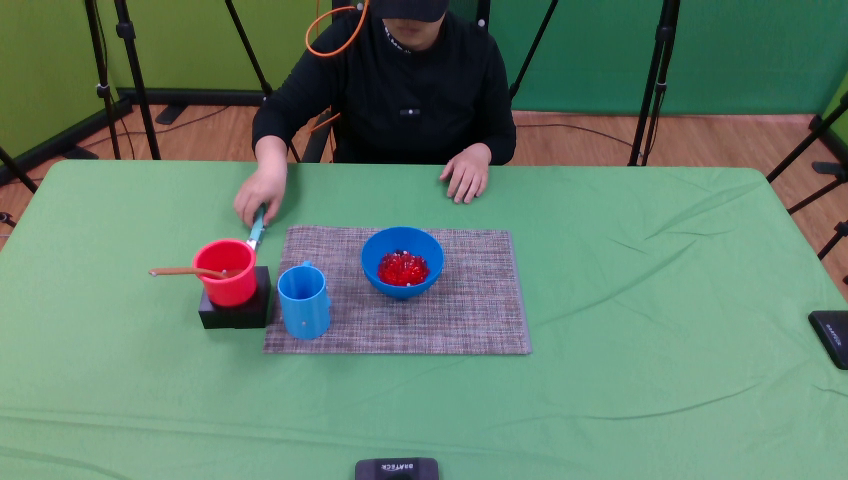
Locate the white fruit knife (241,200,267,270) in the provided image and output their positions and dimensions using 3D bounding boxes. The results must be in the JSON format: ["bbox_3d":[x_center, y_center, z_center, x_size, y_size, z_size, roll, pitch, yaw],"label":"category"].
[{"bbox_3d":[-0.332,-0.003,1.180,0.027,0.016,0.206,-11,48,13],"label":"white fruit knife"}]

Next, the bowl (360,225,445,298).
[{"bbox_3d":[-0.040,0.053,1.099,0.151,0.077,0.150,2,46,-2],"label":"bowl"}]

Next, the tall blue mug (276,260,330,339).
[{"bbox_3d":[-0.208,0.094,1.025,0.078,0.108,0.106,-21,51,-21],"label":"tall blue mug"}]

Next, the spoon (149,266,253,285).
[{"bbox_3d":[-0.351,0.052,0.968,0.041,0.021,0.194,41,13,28],"label":"spoon"}]
